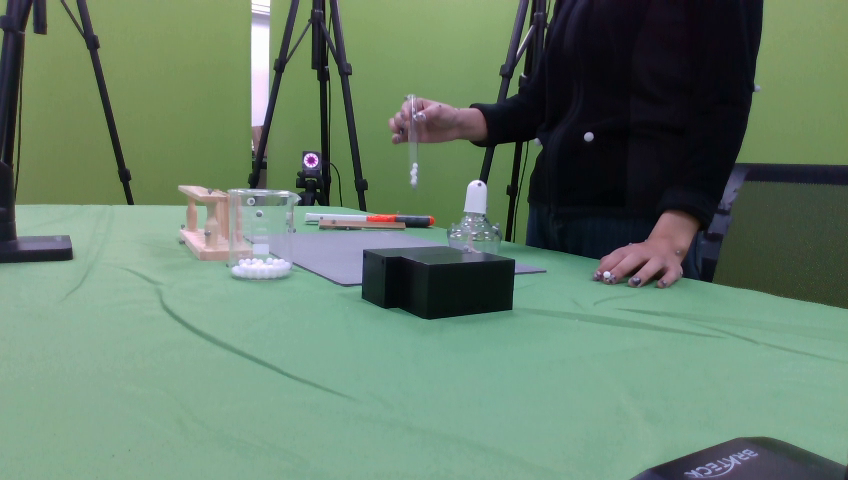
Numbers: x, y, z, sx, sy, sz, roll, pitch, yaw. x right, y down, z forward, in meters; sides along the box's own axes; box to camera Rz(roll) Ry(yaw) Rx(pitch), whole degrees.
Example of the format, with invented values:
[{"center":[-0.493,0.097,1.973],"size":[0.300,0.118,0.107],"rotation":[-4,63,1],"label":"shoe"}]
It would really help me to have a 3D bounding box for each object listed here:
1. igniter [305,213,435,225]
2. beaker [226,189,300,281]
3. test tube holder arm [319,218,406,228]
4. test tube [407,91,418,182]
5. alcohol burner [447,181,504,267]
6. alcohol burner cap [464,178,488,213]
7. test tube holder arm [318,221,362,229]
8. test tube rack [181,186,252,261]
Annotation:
[{"center":[-0.113,-0.046,1.299],"size":[0.277,0.025,0.057],"rotation":[1,-3,-12],"label":"igniter"},{"center":[-0.184,-0.007,0.694],"size":[0.084,0.100,0.073],"rotation":[-1,8,-29],"label":"beaker"},{"center":[-0.122,-0.033,1.214],"size":[0.179,0.015,0.013],"rotation":[1,-22,-20],"label":"test tube holder arm"},{"center":[-0.018,-0.163,0.952],"size":[0.017,0.150,0.017],"rotation":[-1,-12,0],"label":"test tube"},{"center":[0.070,-0.024,0.828],"size":[0.078,0.119,0.078],"rotation":[1,7,0],"label":"alcohol burner"},{"center":[0.073,-0.060,0.824],"size":[0.034,0.048,0.034],"rotation":[6,4,0],"label":"alcohol burner cap"},{"center":[-0.166,-0.031,1.203],"size":[0.088,0.015,0.010],"rotation":[0,-22,-20],"label":"test tube holder arm"},{"center":[-0.312,-0.031,0.893],"size":[0.067,0.085,0.241],"rotation":[-1,8,-27],"label":"test tube rack"}]
